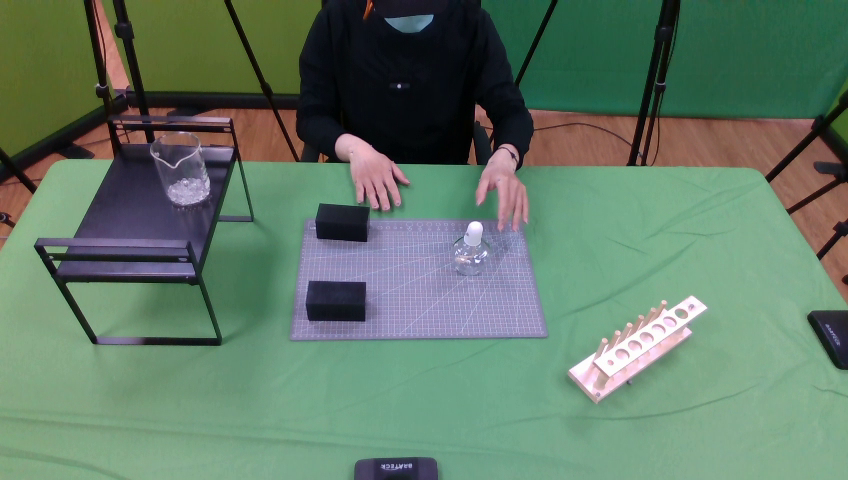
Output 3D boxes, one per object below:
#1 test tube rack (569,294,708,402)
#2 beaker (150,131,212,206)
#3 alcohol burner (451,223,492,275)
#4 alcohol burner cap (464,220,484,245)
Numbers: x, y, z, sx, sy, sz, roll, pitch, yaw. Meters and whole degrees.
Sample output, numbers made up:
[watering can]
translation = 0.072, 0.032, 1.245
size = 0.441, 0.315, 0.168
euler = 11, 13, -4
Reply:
[test tube rack]
translation = 0.360, 0.167, 1.014
size = 0.242, 0.085, 0.066
euler = -25, 52, -25
[beaker]
translation = -0.385, -0.110, 0.969
size = 0.074, 0.101, 0.083
euler = -6, 48, -9
[alcohol burner]
translation = 0.091, 0.008, 1.124
size = 0.078, 0.120, 0.077
euler = 2, 48, -2
[alcohol burner cap]
translation = 0.092, -0.016, 1.098
size = 0.034, 0.048, 0.033
euler = 5, 50, -6
